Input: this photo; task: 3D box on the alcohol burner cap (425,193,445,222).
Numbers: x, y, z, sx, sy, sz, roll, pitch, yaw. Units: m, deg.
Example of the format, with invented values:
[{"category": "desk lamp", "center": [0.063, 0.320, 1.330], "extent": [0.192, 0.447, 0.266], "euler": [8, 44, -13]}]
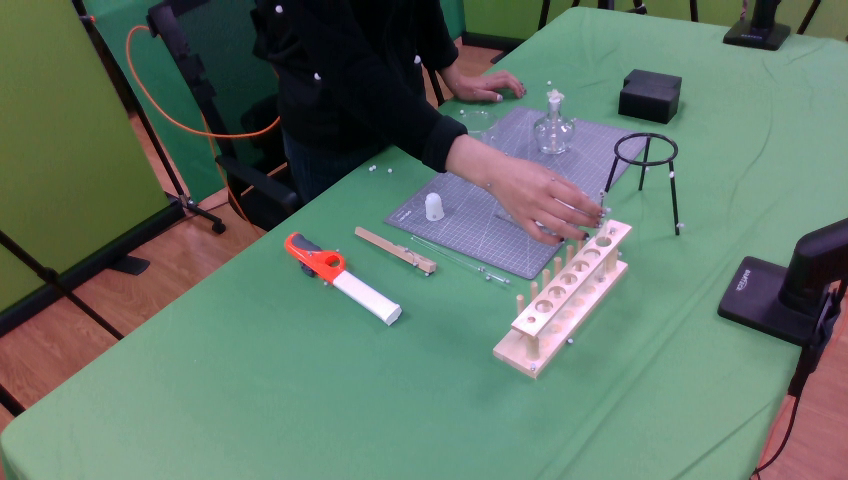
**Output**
[{"category": "alcohol burner cap", "center": [0.017, -0.058, 1.030], "extent": [0.034, 0.048, 0.033], "euler": [-6, 40, 5]}]

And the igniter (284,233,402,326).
[{"category": "igniter", "center": [-0.136, 0.054, 0.942], "extent": [0.274, 0.025, 0.057], "euler": [30, 64, 37]}]

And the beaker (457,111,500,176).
[{"category": "beaker", "center": [0.104, -0.176, 1.108], "extent": [0.073, 0.101, 0.084], "euler": [16, 46, 27]}]

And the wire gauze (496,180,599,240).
[{"category": "wire gauze", "center": [0.206, -0.050, 1.012], "extent": [0.125, 0.011, 0.120], "euler": [-34, 45, -26]}]

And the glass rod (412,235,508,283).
[{"category": "glass rod", "center": [0.051, 0.028, 0.951], "extent": [0.198, 0.008, 0.008], "euler": [25, 51, 37]}]

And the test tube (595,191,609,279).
[{"category": "test tube", "center": [0.240, -0.003, 0.815], "extent": [0.017, 0.151, 0.017], "euler": [-8, 40, 7]}]

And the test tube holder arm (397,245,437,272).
[{"category": "test tube holder arm", "center": [-0.016, 0.029, 0.957], "extent": [0.087, 0.015, 0.010], "euler": [25, 17, 35]}]

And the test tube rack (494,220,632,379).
[{"category": "test tube rack", "center": [0.191, 0.068, 0.818], "extent": [0.066, 0.085, 0.243], "euler": [25, 51, 35]}]

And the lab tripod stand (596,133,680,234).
[{"category": "lab tripod stand", "center": [0.338, -0.090, 0.940], "extent": [0.148, 0.132, 0.147], "euler": [-7, 39, 6]}]

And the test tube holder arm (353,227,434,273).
[{"category": "test tube holder arm", "center": [-0.052, 0.014, 0.979], "extent": [0.177, 0.015, 0.013], "euler": [25, 17, 35]}]

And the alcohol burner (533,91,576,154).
[{"category": "alcohol burner", "center": [0.243, -0.222, 1.124], "extent": [0.078, 0.119, 0.077], "euler": [-4, 39, 4]}]
